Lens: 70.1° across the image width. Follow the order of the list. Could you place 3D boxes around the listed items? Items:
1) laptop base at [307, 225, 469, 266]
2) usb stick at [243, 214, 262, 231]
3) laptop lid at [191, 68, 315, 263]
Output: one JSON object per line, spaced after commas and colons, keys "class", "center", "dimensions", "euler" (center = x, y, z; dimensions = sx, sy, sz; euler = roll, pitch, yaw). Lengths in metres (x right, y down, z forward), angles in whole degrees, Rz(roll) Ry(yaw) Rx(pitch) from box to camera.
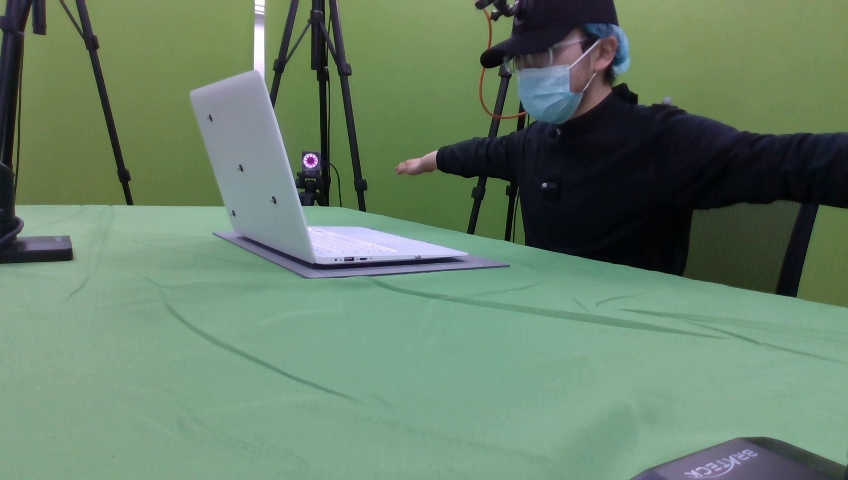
{"class": "laptop base", "center": [-0.125, 0.006, 0.936], "dimensions": [0.237, 0.023, 0.352], "euler": [1, 7, -33]}
{"class": "usb stick", "center": [-0.297, -0.030, 1.053], "dimensions": [0.021, 0.027, 0.059], "euler": [0, 10, -31]}
{"class": "laptop lid", "center": [-0.250, -0.102, 0.838], "dimensions": [0.013, 0.242, 0.355], "euler": [-22, 20, -29]}
